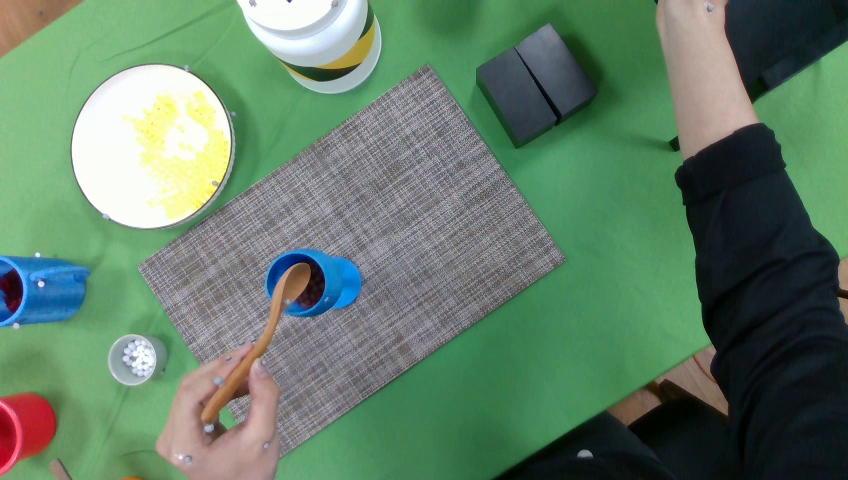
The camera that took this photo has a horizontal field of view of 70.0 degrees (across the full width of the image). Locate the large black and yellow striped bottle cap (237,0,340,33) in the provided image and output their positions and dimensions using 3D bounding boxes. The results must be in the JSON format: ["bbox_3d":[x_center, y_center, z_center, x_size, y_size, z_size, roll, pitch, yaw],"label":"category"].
[{"bbox_3d":[-0.134,-0.263,0.597,0.115,0.019,0.115,0,87,4],"label":"large black and yellow striped bottle cap"}]

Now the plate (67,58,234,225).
[{"bbox_3d":[-0.339,-0.121,0.762,0.209,0.038,0.209,0,88,3],"label":"plate"}]

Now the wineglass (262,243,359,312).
[{"bbox_3d":[-0.119,0.041,0.670,0.073,0.172,0.073,0,87,4],"label":"wineglass"}]

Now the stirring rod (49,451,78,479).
[{"bbox_3d":[-0.377,0.318,0.690,0.014,0.006,0.176,-35,85,3],"label":"stirring rod"}]

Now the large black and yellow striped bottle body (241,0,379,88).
[{"bbox_3d":[-0.127,-0.259,0.680,0.131,0.184,0.130,0,87,4],"label":"large black and yellow striped bottle body"}]

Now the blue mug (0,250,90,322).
[{"bbox_3d":[-0.467,0.049,0.730,0.116,0.106,0.082,-21,86,3],"label":"blue mug"}]

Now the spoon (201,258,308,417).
[{"bbox_3d":[-0.130,0.070,0.487,0.021,0.192,0.042,15,119,-1],"label":"spoon"}]

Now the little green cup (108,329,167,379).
[{"bbox_3d":[-0.353,0.139,0.753,0.061,0.038,0.061,0,88,4],"label":"little green cup"}]
